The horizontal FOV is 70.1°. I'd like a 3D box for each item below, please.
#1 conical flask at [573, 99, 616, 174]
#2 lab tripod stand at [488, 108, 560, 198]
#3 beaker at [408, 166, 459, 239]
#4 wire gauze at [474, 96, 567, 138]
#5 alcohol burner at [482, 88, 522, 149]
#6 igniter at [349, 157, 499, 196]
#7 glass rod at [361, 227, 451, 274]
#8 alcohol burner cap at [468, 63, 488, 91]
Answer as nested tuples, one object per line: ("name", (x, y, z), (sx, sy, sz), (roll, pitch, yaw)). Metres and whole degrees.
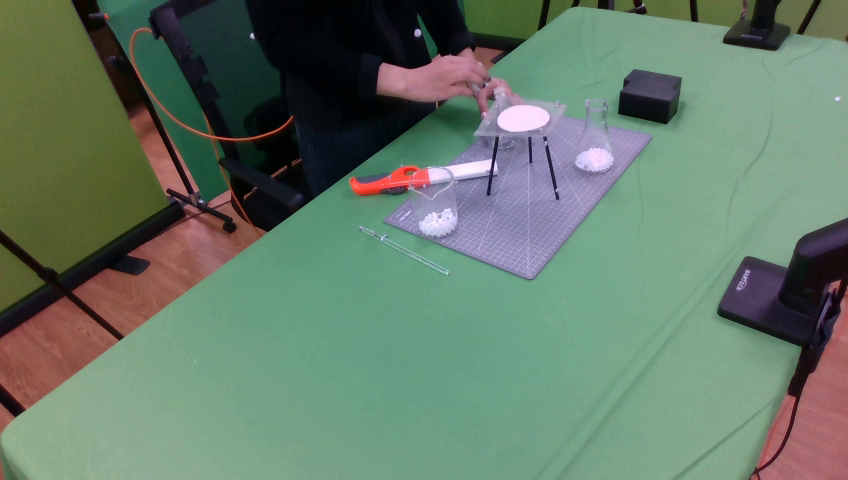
("conical flask", (0.302, -0.184, 1.061), (0.075, 0.122, 0.075), (-5, 40, 5))
("lab tripod stand", (0.173, -0.150, 1.037), (0.148, 0.132, 0.147), (-6, 38, 6))
("beaker", (0.018, -0.058, 0.984), (0.074, 0.101, 0.083), (-6, 41, 6))
("wire gauze", (0.161, -0.201, 0.994), (0.121, 0.011, 0.125), (12, 43, 23))
("alcohol burner", (0.149, -0.237, 1.160), (0.078, 0.119, 0.077), (-4, 39, 4))
("igniter", (-0.002, -0.117, 1.117), (0.276, 0.025, 0.057), (-9, 57, 2))
("glass rod", (-0.033, 0.014, 0.984), (0.198, 0.008, 0.008), (25, 52, 34))
("alcohol burner cap", (0.096, -0.299, 1.103), (0.034, 0.048, 0.033), (-12, 41, 11))
